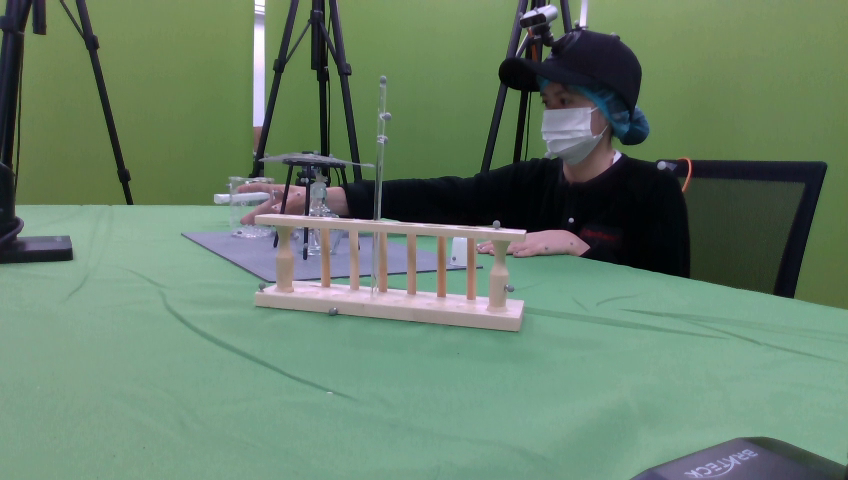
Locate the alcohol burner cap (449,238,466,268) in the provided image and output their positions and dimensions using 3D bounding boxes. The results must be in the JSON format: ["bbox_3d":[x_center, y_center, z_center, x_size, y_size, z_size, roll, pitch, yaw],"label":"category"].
[{"bbox_3d":[0.051,0.014,0.827,0.034,0.048,0.034,2,6,0],"label":"alcohol burner cap"}]

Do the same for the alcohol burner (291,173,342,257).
[{"bbox_3d":[-0.155,-0.037,0.870,0.078,0.119,0.078,1,6,0],"label":"alcohol burner"}]

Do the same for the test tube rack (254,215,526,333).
[{"bbox_3d":[-0.030,0.025,0.558,0.242,0.085,0.067,4,7,12],"label":"test tube rack"}]

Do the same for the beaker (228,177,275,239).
[{"bbox_3d":[-0.293,-0.056,1.022,0.074,0.100,0.083,-1,8,-27],"label":"beaker"}]

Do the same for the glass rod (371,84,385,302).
[{"bbox_3d":[-0.041,-0.041,0.548,0.008,0.199,0.008,2,2,0],"label":"glass rod"}]

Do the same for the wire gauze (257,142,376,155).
[{"bbox_3d":[-0.155,-0.130,0.871,0.124,0.011,0.122,-1,7,36],"label":"wire gauze"}]

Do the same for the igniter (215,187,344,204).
[{"bbox_3d":[-0.289,-0.093,1.255,0.278,0.025,0.057,-6,12,-34],"label":"igniter"}]

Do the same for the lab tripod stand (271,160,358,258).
[{"bbox_3d":[-0.159,-0.048,0.876,0.148,0.131,0.148,3,5,0],"label":"lab tripod stand"}]
